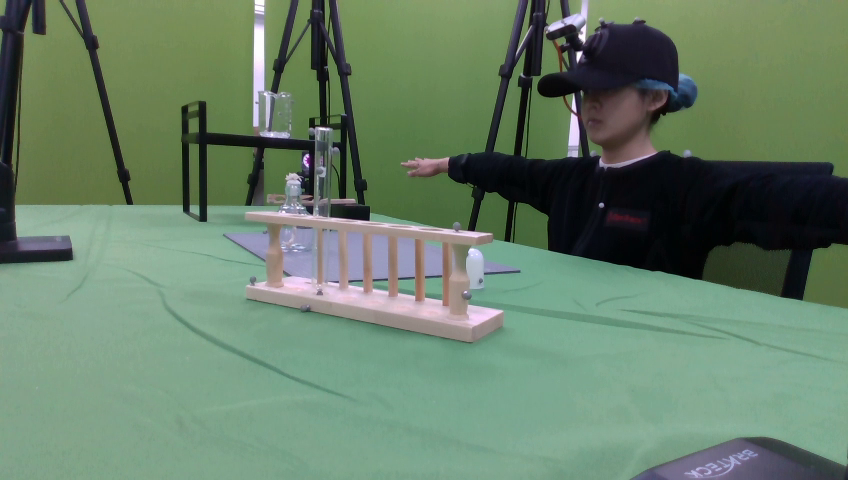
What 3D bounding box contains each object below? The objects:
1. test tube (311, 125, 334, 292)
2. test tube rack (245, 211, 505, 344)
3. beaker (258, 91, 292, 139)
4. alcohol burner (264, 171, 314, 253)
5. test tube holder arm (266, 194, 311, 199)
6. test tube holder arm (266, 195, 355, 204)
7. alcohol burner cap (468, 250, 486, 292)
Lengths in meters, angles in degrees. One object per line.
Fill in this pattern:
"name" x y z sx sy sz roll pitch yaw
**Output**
"test tube" -0.092 -0.027 0.543 0.017 0.150 0.017 4 10 0
"test tube rack" -0.049 0.025 0.547 0.241 0.085 0.067 7 8 29
"beaker" -0.331 -0.276 1.343 0.074 0.100 0.083 0 8 -20
"alcohol burner" -0.194 -0.042 0.888 0.078 0.119 0.078 3 5 0
"test tube holder arm" -0.262 -0.084 1.173 0.088 0.010 0.015 -3 2 -30
"test tube holder arm" -0.222 -0.081 1.196 0.179 0.013 0.015 -4 3 -30
"alcohol burner cap" 0.056 0.035 0.690 0.034 0.048 0.034 2 7 0
